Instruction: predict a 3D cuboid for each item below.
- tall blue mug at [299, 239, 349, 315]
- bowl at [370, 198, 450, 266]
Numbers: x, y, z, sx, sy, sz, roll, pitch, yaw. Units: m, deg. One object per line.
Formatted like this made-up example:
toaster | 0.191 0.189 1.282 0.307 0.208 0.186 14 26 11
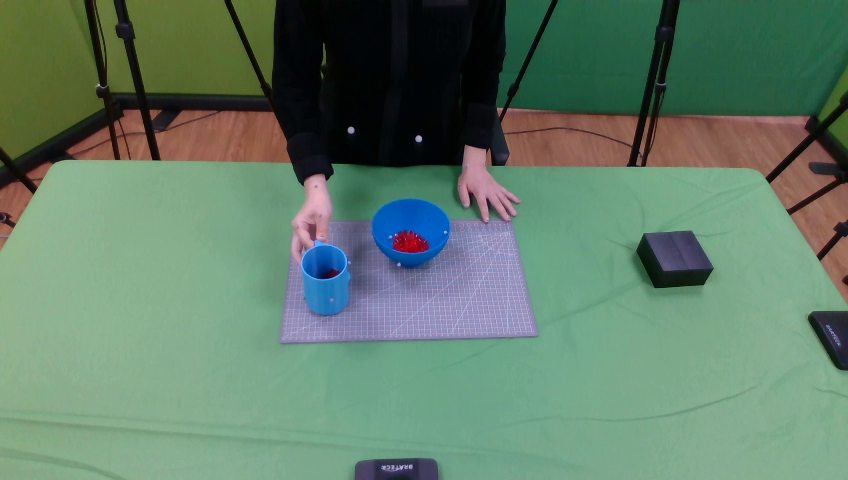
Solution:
tall blue mug | -0.183 0.059 1.048 0.078 0.108 0.106 -36 63 -28
bowl | -0.028 -0.003 1.156 0.151 0.077 0.150 2 46 -2
